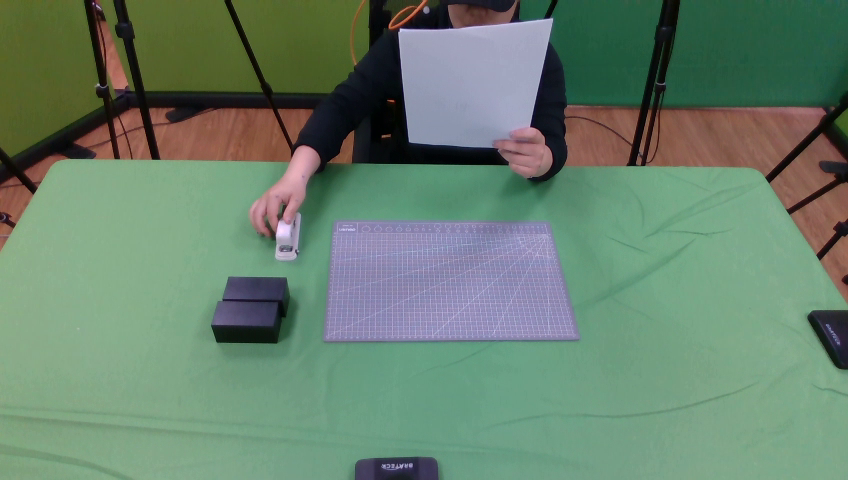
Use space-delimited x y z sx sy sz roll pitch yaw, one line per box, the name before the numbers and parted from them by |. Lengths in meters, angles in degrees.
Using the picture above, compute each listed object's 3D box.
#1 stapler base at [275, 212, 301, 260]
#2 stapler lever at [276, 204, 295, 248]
stapler base | -0.268 -0.016 1.191 0.041 0.024 0.129 0 44 -6
stapler lever | -0.268 -0.034 1.175 0.027 0.040 0.117 0 45 -6
